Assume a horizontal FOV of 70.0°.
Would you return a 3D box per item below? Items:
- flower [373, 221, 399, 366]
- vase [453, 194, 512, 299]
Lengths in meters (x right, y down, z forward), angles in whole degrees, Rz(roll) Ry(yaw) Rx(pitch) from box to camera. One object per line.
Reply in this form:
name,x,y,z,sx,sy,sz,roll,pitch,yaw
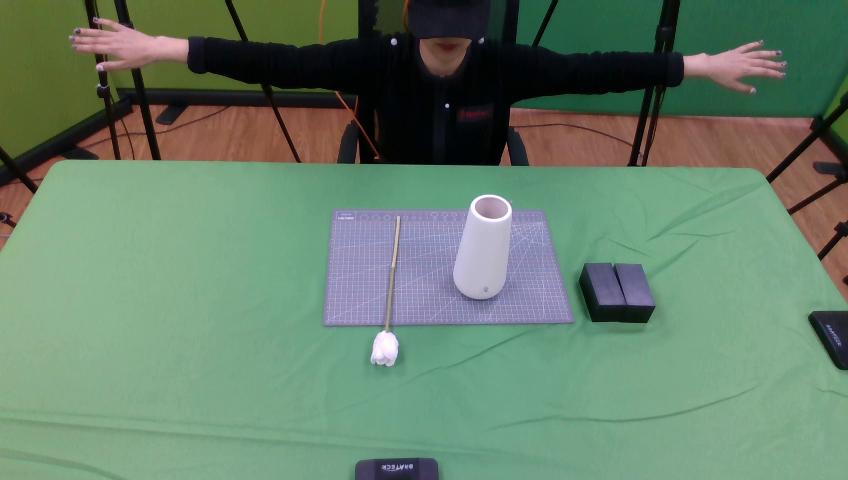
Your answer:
flower,-0.061,0.080,1.122,0.044,0.038,0.359,-26,36,22
vase,0.107,0.016,1.065,0.098,0.201,0.097,3,47,-3
